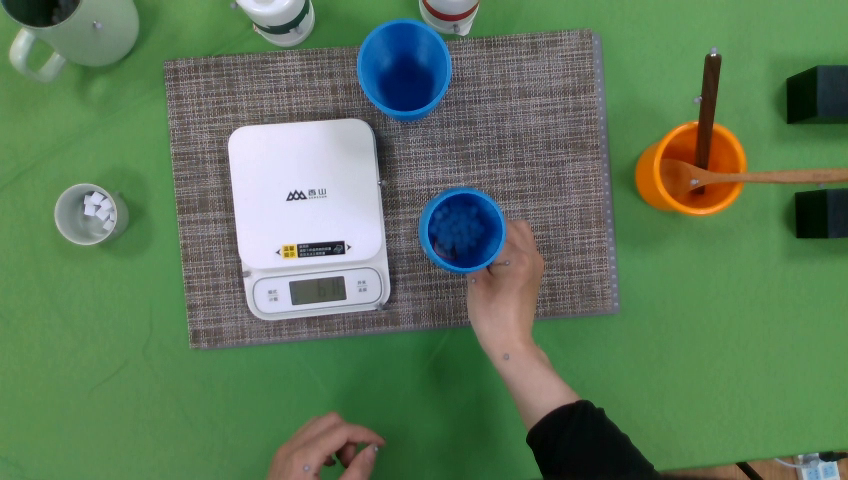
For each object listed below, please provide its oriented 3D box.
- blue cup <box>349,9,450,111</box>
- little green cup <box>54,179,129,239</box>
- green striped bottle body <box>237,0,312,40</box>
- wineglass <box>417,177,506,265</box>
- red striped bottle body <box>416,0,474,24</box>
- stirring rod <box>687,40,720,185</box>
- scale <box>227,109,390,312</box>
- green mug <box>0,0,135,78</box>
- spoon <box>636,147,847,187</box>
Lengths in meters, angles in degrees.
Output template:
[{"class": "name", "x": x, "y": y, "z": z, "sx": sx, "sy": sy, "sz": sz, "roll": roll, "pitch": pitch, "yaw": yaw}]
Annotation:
[{"class": "blue cup", "x": -0.020, "y": -0.164, "z": 0.586, "sx": 0.093, "sy": 0.100, "sz": 0.092, "roll": 0, "pitch": 94, "yaw": -1}, {"class": "little green cup", "x": -0.333, "y": -0.031, "z": 0.614, "sx": 0.061, "sy": 0.038, "sz": 0.061, "roll": 0, "pitch": 92, "yaw": -3}, {"class": "green striped bottle body", "x": -0.146, "y": -0.238, "z": 0.572, "sx": 0.063, "sy": 0.119, "sz": 0.063, "roll": 0, "pitch": 92, "yaw": -2}, {"class": "wineglass", "x": 0.028, "y": -0.018, "z": 0.543, "sx": 0.074, "sy": 0.172, "sz": 0.074, "roll": 0, "pitch": 93, "yaw": -2}, {"class": "red striped bottle body", "x": 0.024, "y": -0.256, "z": 0.578, "sx": 0.063, "sy": 0.119, "sz": 0.063, "roll": 0, "pitch": 92, "yaw": -2}, {"class": "stirring rod", "x": 0.265, "y": -0.114, "z": 0.577, "sx": 0.014, "sy": 0.178, "sz": 0.006, "roll": 13, "pitch": 58, "yaw": 27}, {"class": "scale", "x": -0.117, "y": -0.029, "z": 0.622, "sx": 0.149, "sy": 0.031, "sz": 0.201, "roll": -6, "pitch": 93, "yaw": -1}, {"class": "green mug", "x": -0.346, "y": -0.211, "z": 0.573, "sx": 0.092, "sy": 0.105, "sz": 0.125, "roll": 30, "pitch": 91, "yaw": -3}, {"class": "spoon", "x": 0.300, "y": -0.071, "z": 0.582, "sx": 0.022, "sy": 0.192, "sz": 0.042, "roll": -13, "pitch": 103, "yaw": -45}]
